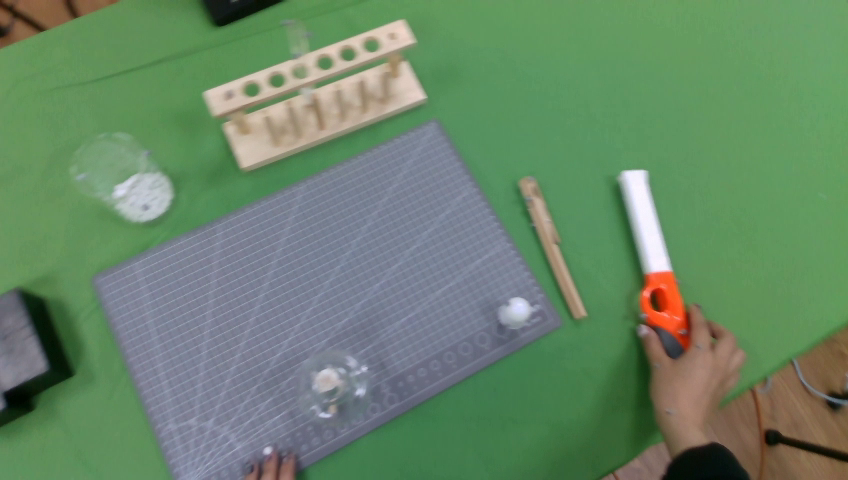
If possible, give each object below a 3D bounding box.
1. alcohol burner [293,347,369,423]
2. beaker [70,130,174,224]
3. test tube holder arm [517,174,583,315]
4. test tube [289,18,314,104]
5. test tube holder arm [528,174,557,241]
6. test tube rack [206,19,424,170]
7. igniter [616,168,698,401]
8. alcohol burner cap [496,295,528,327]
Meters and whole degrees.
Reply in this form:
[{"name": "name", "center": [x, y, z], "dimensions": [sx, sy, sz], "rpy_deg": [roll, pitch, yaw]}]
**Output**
[{"name": "alcohol burner", "center": [-0.096, 0.144, 0.610], "dimensions": [0.078, 0.119, 0.077], "rpy_deg": [1, 71, -3]}, {"name": "beaker", "center": [-0.328, -0.063, 0.674], "dimensions": [0.074, 0.101, 0.083], "rpy_deg": [-24, 76, -9]}, {"name": "test tube holder arm", "center": [0.148, 0.003, 0.715], "dimensions": [0.013, 0.015, 0.177], "rpy_deg": [-6, 71, -40]}, {"name": "test tube", "center": [-0.135, -0.194, 0.677], "dimensions": [0.017, 0.151, 0.017], "rpy_deg": [2, 72, -5]}, {"name": "test tube holder arm", "center": [0.138, -0.038, 0.730], "dimensions": [0.010, 0.015, 0.087], "rpy_deg": [-4, 70, -40]}, {"name": "test tube rack", "center": [-0.121, -0.172, 0.723], "dimensions": [0.242, 0.085, 0.066], "rpy_deg": [-23, 75, -9]}, {"name": "igniter", "center": [0.269, 0.045, 0.704], "dimensions": [0.057, 0.025, 0.275], "rpy_deg": [-4, 73, -13]}, {"name": "alcohol burner cap", "center": [0.100, 0.078, 0.676], "dimensions": [0.034, 0.048, 0.033], "rpy_deg": [1, 72, -2]}]
